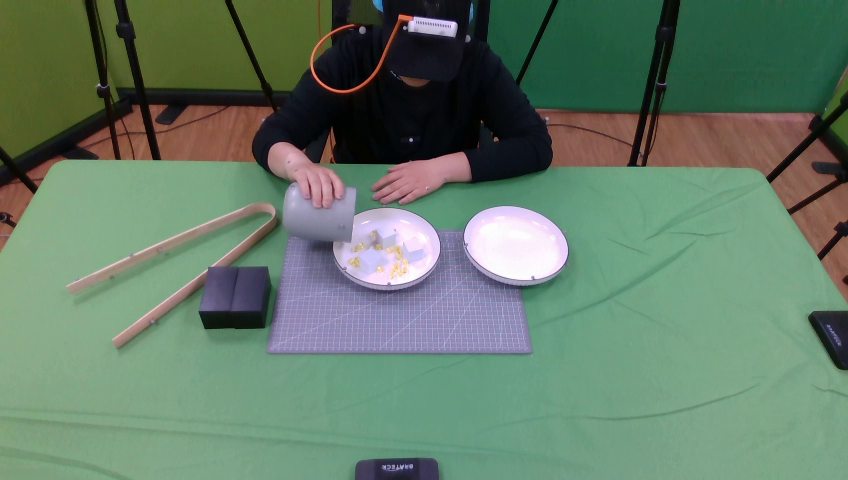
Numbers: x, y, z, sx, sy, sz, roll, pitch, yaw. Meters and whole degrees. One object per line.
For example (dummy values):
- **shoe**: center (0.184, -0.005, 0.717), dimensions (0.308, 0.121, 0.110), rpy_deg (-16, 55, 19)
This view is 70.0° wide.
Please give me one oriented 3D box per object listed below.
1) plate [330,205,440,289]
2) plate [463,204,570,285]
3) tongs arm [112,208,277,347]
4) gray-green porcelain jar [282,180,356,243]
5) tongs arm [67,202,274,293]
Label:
- **plate**: center (-0.074, 0.017, 1.160), dimensions (0.208, 0.039, 0.206), rpy_deg (2, 46, -2)
- **plate**: center (0.178, 0.012, 1.184), dimensions (0.209, 0.038, 0.208), rpy_deg (3, 46, -3)
- **tongs arm**: center (-0.401, 0.058, 1.109), dimensions (0.028, 0.028, 0.387), rpy_deg (26, 49, 23)
- **gray-green porcelain jar**: center (-0.193, -0.054, 1.119), dimensions (0.127, 0.106, 0.105), rpy_deg (6, 46, -7)
- **tongs arm**: center (-0.461, 0.013, 1.142), dimensions (0.385, 0.026, 0.050), rpy_deg (-31, 56, -31)
